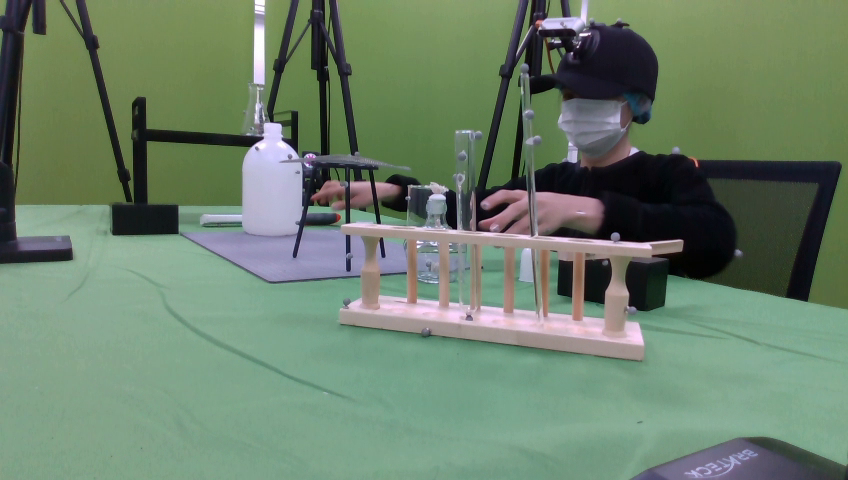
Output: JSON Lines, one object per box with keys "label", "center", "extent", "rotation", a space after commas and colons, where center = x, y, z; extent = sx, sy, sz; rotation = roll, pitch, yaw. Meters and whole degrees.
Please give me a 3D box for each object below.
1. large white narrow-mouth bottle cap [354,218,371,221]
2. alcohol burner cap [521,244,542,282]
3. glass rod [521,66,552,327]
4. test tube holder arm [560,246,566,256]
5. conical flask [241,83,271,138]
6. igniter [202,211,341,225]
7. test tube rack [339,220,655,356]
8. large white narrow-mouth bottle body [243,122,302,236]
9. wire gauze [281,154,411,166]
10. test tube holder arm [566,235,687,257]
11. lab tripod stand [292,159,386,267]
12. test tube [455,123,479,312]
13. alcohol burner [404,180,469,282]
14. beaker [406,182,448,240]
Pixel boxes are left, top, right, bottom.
{"label": "large white narrow-mouth bottle cap", "center": [-0.120, -0.029, 1.184], "extent": [0.038, 0.024, 0.037], "rotation": [2, 8, 0]}
{"label": "alcohol burner cap", "center": [0.136, 0.025, 0.740], "extent": [0.034, 0.048, 0.034], "rotation": [1, 6, 0]}
{"label": "glass rod", "center": [0.085, -0.028, 0.454], "extent": [0.008, 0.199, 0.008], "rotation": [-7, 10, 2]}
{"label": "test tube holder arm", "center": [0.173, 0.007, 0.611], "extent": [0.088, 0.015, 0.010], "rotation": [-3, 9, -30]}
{"label": "conical flask", "center": [-0.384, -0.297, 1.393], "extent": [0.075, 0.122, 0.075], "rotation": [2, 7, 0]}
{"label": "igniter", "center": [-0.299, -0.044, 1.217], "extent": [0.278, 0.025, 0.057], "rotation": [-3, -6, -32]}
{"label": "test tube rack", "center": [0.056, 0.032, 0.495], "extent": [0.242, 0.085, 0.067], "rotation": [4, 7, 15]}
{"label": "large white narrow-mouth bottle body", "center": [-0.264, -0.109, 1.061], "extent": [0.102, 0.194, 0.102], "rotation": [2, 8, 0]}
{"label": "wire gauze", "center": [-0.102, -0.105, 0.785], "extent": [0.121, 0.011, 0.126], "rotation": [7, 8, 43]}
{"label": "test tube holder arm", "center": [0.215, 0.006, 0.629], "extent": [0.179, 0.015, 0.013], "rotation": [-3, 9, -30]}
{"label": "lab tripod stand", "center": [-0.105, -0.039, 0.797], "extent": [0.148, 0.131, 0.148], "rotation": [2, 5, 0]}
{"label": "test tube", "center": [0.034, -0.016, 0.476], "extent": [0.017, 0.150, 0.017], "rotation": [-2, 10, 1]}
{"label": "alcohol burner", "center": [0.015, -0.011, 0.715], "extent": [0.078, 0.119, 0.078], "rotation": [0, 7, 0]}
{"label": "beaker", "center": [0.008, -0.053, 1.102], "extent": [0.074, 0.100, 0.083], "rotation": [-6, 12, -44]}
